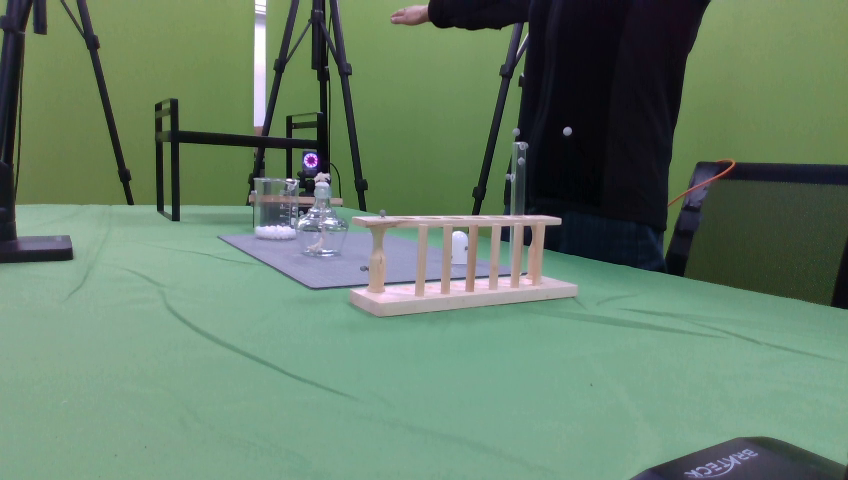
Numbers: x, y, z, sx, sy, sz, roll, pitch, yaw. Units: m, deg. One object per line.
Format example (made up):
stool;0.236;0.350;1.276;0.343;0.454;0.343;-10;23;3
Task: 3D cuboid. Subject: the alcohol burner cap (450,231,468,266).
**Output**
alcohol burner cap;0.046;0.011;0.838;0.034;0.048;0.034;2;6;0

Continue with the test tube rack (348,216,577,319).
test tube rack;0.048;0.021;0.619;0.244;0.085;0.066;-2;9;-31

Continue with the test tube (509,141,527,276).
test tube;0.102;-0.032;0.662;0.017;0.150;0.017;0;11;0

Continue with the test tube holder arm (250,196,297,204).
test tube holder arm;-0.284;-0.076;1.142;0.088;0.015;0.010;0;12;-29

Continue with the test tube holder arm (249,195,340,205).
test tube holder arm;-0.248;-0.077;1.170;0.179;0.015;0.013;0;12;-32

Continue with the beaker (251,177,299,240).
beaker;-0.245;-0.052;1.004;0.083;0.100;0.074;9;10;36

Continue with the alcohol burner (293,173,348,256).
alcohol burner;-0.146;-0.036;0.859;0.078;0.119;0.078;4;8;0
